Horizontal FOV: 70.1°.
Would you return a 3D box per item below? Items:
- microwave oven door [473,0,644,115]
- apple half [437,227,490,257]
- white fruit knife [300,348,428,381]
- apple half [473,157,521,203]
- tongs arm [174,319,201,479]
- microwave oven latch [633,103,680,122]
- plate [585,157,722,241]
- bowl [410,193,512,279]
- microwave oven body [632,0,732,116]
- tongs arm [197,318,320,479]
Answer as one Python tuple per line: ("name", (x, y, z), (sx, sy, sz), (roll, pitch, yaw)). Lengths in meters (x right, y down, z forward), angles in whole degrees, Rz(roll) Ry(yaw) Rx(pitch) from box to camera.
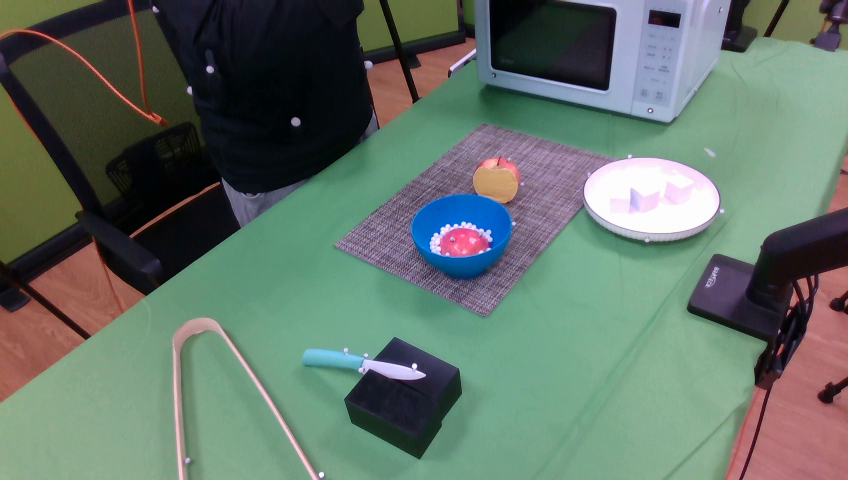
("microwave oven door", (0.257, -0.396, 1.199), (0.353, 0.245, 0.039), (21, 48, 29))
("apple half", (0.056, 0.002, 0.902), (0.081, 0.033, 0.081), (-3, 42, 3))
("white fruit knife", (-0.079, 0.154, 0.748), (0.206, 0.027, 0.016), (1, 20, 34))
("apple half", (0.128, -0.107, 1.030), (0.080, 0.075, 0.053), (4, 38, 19))
("tongs arm", (-0.272, 0.234, 0.723), (0.051, 0.026, 0.381), (-19, 40, -15))
("microwave oven latch", (0.443, -0.249, 1.157), (0.078, 0.029, 0.030), (21, 48, 30))
("plate", (0.367, -0.063, 0.979), (0.207, 0.039, 0.206), (-4, 41, 4))
("bowl", (0.058, 0.005, 0.905), (0.151, 0.077, 0.150), (-4, 40, 4))
("microwave oven body", (0.377, -0.463, 1.267), (0.438, 0.261, 0.327), (21, 48, 30))
("tongs arm", (-0.199, 0.207, 0.750), (0.028, 0.028, 0.384), (-31, 45, -22))
